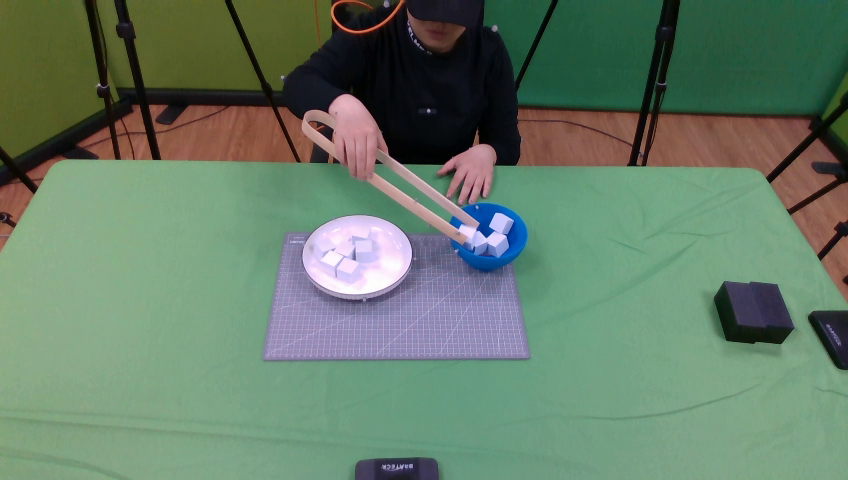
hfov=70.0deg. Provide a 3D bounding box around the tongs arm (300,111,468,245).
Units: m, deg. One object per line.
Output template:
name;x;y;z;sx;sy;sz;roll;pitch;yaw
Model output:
tongs arm;-0.076;-0.117;1.122;0.384;0.026;0.050;33;47;3

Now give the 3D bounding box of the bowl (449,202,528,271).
bowl;0.118;0.006;1.160;0.151;0.077;0.150;2;46;-2

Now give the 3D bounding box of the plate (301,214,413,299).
plate;-0.124;0.033;1.143;0.208;0.039;0.206;2;46;-2

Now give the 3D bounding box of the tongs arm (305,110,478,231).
tongs arm;-0.061;-0.133;1.143;0.387;0.028;0.028;35;50;5
